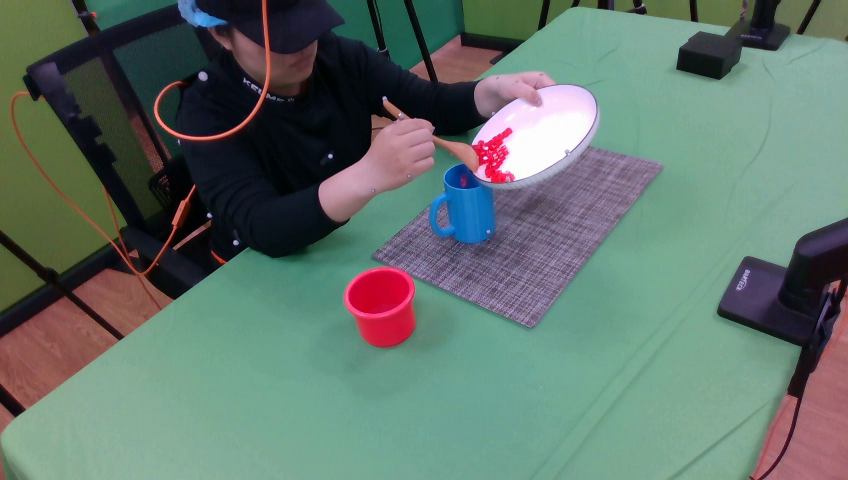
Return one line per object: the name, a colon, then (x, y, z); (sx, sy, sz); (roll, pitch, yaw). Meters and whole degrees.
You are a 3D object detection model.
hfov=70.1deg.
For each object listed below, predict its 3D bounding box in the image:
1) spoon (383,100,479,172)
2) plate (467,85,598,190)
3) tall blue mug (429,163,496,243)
spoon: (0.015, -0.148, 0.867); (0.021, 0.195, 0.041); (-28, 50, 42)
plate: (0.163, -0.149, 0.908); (0.207, 0.039, 0.206); (-23, 39, 21)
tall blue mug: (0.067, -0.051, 0.960); (0.077, 0.108, 0.107); (18, 47, 27)
